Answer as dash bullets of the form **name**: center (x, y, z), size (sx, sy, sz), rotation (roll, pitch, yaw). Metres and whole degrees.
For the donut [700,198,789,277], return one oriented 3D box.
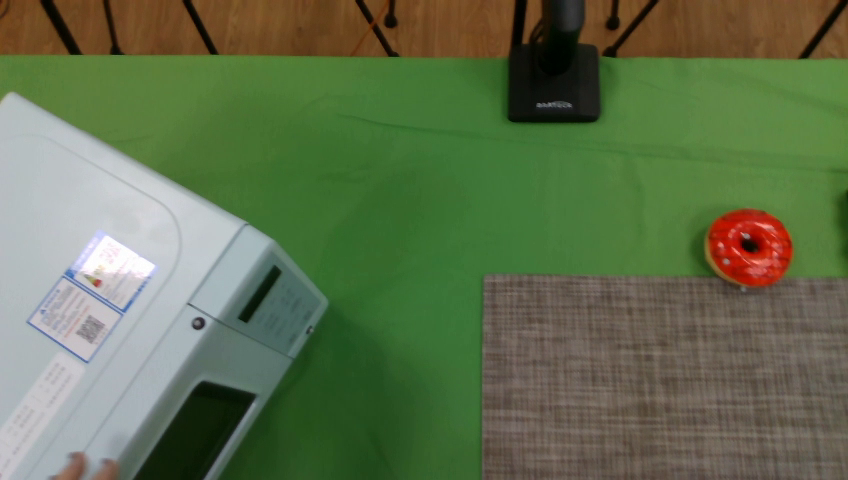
- **donut**: center (0.378, -0.003, 0.715), size (0.099, 0.048, 0.098), rotation (-2, 69, 6)

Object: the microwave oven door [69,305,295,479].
- **microwave oven door**: center (-0.258, 0.236, 0.553), size (0.039, 0.245, 0.355), rotation (27, 76, 12)

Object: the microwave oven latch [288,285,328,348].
- **microwave oven latch**: center (-0.142, 0.084, 0.701), size (0.030, 0.029, 0.079), rotation (30, 77, 11)

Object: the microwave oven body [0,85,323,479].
- **microwave oven body**: center (-0.364, 0.135, 0.595), size (0.325, 0.261, 0.440), rotation (28, 77, 10)
